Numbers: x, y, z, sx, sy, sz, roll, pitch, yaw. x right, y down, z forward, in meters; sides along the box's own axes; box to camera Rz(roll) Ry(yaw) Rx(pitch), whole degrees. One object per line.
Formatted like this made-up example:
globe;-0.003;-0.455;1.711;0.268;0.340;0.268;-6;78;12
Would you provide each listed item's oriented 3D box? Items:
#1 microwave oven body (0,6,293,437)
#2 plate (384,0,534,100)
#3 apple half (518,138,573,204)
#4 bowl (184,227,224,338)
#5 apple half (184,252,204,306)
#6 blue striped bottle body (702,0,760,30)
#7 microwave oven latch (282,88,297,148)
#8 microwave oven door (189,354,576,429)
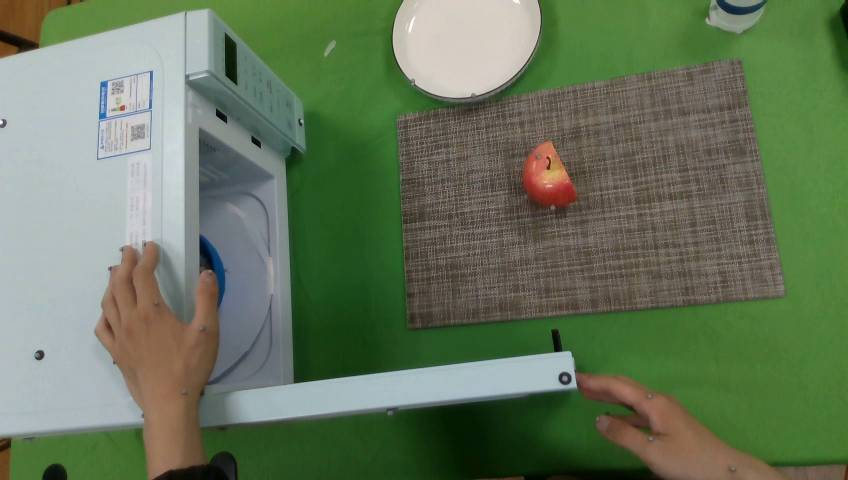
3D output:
microwave oven body;-0.344;0.001;0.756;0.325;0.262;0.439;-8;77;11
plate;0.049;-0.287;0.840;0.207;0.039;0.206;-3;78;13
apple half;0.145;-0.078;0.750;0.053;0.075;0.080;-28;77;12
bowl;-0.313;0.054;0.779;0.151;0.077;0.151;-1;88;18
apple half;-0.321;0.050;0.769;0.081;0.033;0.081;0;93;9
blue striped bottle body;0.375;-0.309;0.720;0.063;0.121;0.063;-3;77;14
microwave oven latch;-0.196;-0.172;0.857;0.030;0.030;0.079;-3;78;13
microwave oven door;-0.022;0.156;0.640;0.355;0.245;0.039;-10;76;12
